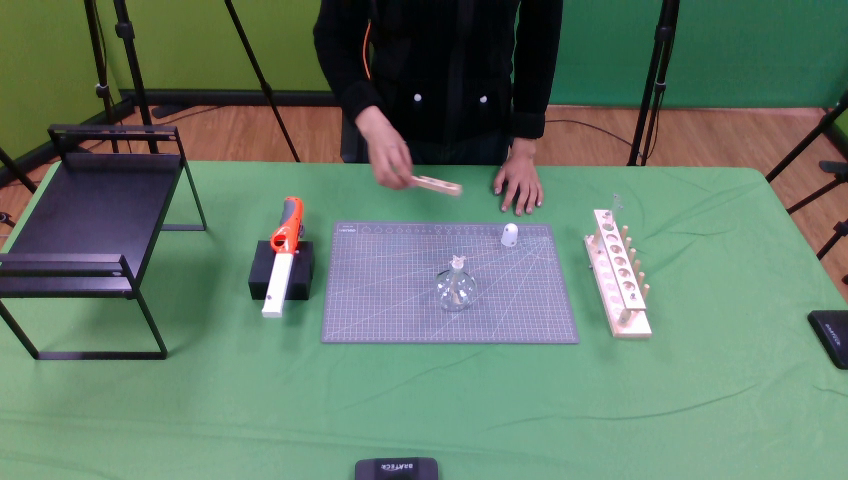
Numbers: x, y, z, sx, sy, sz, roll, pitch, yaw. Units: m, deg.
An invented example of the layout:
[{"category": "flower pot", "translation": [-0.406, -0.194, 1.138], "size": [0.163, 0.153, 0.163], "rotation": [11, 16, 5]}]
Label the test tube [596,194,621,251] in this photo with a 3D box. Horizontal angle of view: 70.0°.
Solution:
[{"category": "test tube", "translation": [0.346, -0.029, 1.141], "size": [0.017, 0.151, 0.017], "rotation": [0, 50, 0]}]

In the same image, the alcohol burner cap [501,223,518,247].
[{"category": "alcohol burner cap", "translation": [0.172, -0.013, 1.207], "size": [0.034, 0.048, 0.033], "rotation": [1, 45, -1]}]

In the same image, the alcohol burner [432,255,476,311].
[{"category": "alcohol burner", "translation": [0.055, 0.070, 1.068], "size": [0.078, 0.119, 0.077], "rotation": [3, 45, -3]}]

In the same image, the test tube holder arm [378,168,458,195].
[{"category": "test tube holder arm", "translation": [-0.014, -0.106, 1.083], "size": [0.177, 0.015, 0.013], "rotation": [17, 41, 33]}]

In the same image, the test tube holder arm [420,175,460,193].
[{"category": "test tube holder arm", "translation": [0.026, -0.098, 1.062], "size": [0.087, 0.015, 0.010], "rotation": [18, 42, 34]}]

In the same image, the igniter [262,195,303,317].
[{"category": "igniter", "translation": [-0.253, 0.020, 1.090], "size": [0.057, 0.025, 0.275], "rotation": [0, 49, -1]}]

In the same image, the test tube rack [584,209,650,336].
[{"category": "test tube rack", "translation": [0.365, 0.056, 1.129], "size": [0.067, 0.085, 0.240], "rotation": [1, 46, -3]}]
